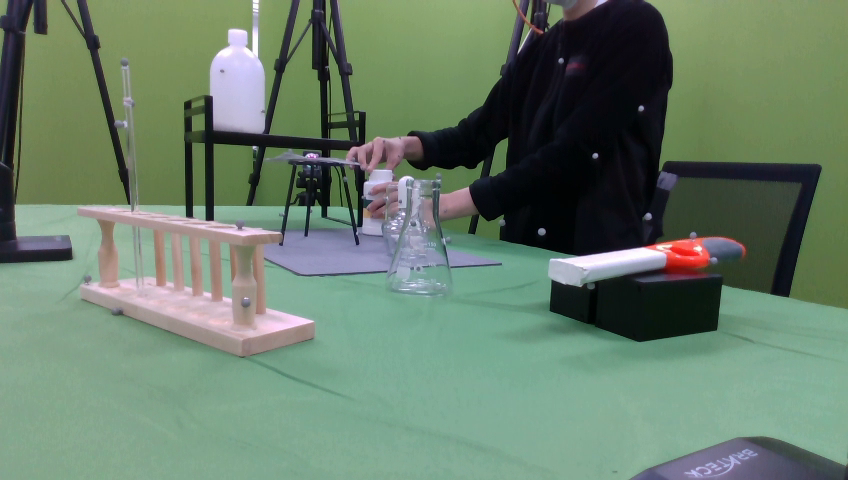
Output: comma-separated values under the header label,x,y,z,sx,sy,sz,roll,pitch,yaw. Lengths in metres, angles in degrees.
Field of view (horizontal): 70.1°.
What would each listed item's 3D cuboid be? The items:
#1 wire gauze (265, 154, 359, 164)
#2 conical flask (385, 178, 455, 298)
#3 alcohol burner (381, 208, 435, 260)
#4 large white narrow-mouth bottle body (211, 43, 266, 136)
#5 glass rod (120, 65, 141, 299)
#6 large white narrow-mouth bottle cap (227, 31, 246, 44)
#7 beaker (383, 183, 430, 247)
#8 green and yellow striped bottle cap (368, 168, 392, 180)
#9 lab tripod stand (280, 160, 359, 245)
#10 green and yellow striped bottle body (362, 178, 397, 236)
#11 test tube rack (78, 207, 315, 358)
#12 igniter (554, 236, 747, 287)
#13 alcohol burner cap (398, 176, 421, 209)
label,x,y,z,sx,sy,sz,roll,pitch,yaw
wire gauze,-0.181,-0.129,0.969,0.126,0.011,0.121,-1,7,-27
conical flask,-0.002,-0.004,0.639,0.075,0.122,0.075,2,7,0
alcohol burner,-0.023,-0.032,0.871,0.078,0.119,0.078,0,6,0
large white narrow-mouth bottle body,-0.361,-0.302,1.176,0.102,0.194,0.102,1,7,0
glass rod,-0.249,-0.047,0.513,0.008,0.199,0.008,-1,4,0
large white narrow-mouth bottle cap,-0.361,-0.388,1.166,0.038,0.024,0.037,1,7,0
beaker,-0.027,-0.041,0.996,0.074,0.100,0.083,-5,11,-43
green and yellow striped bottle cap,-0.080,-0.121,1.111,0.045,0.020,0.045,5,8,0
lab tripod stand,-0.176,-0.062,0.973,0.148,0.131,0.148,1,7,0
green and yellow striped bottle body,-0.082,-0.069,1.117,0.063,0.119,0.063,3,7,0
test tube rack,-0.196,0.023,0.499,0.241,0.085,0.067,8,9,37
igniter,0.221,0.017,0.558,0.278,0.025,0.057,-5,14,-39
alcohol burner cap,-0.023,-0.068,0.866,0.034,0.048,0.034,-5,8,1
